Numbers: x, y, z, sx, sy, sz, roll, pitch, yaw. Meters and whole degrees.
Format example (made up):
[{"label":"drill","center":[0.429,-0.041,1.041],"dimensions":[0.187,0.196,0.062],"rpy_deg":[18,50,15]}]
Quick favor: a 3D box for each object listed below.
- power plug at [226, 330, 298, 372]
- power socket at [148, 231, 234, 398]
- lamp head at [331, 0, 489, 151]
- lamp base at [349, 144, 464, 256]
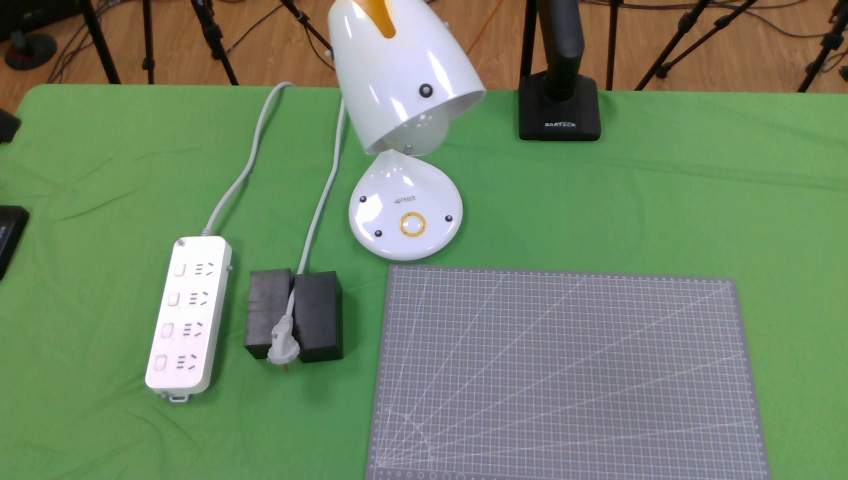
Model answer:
[{"label":"power plug","center":[-0.182,0.132,0.699],"dimensions":[0.072,0.053,0.035],"rpy_deg":[-16,18,0]},{"label":"power socket","center":[-0.296,0.087,0.781],"dimensions":[0.072,0.033,0.224],"rpy_deg":[-1,61,1]},{"label":"lamp head","center":[-0.022,-0.148,0.493],"dimensions":[0.112,0.112,0.122],"rpy_deg":[-26,87,-11]},{"label":"lamp base","center":[-0.035,-0.095,0.783],"dimensions":[0.161,0.182,0.177],"rpy_deg":[-23,60,-10]}]
